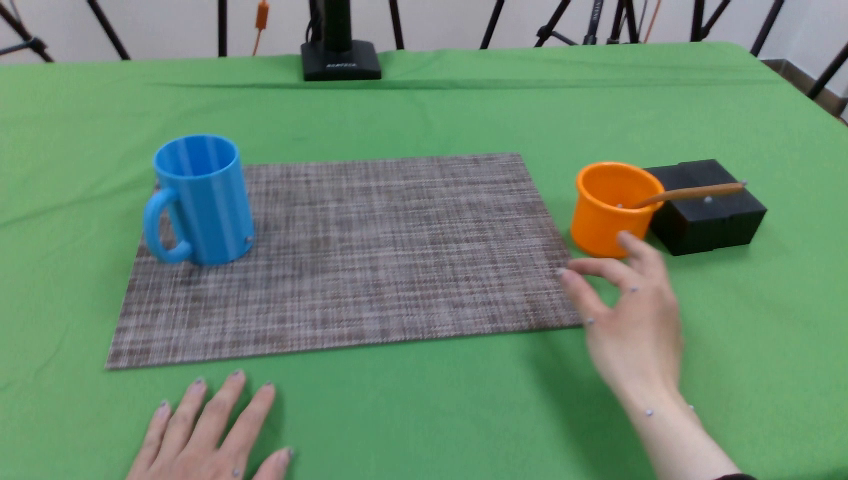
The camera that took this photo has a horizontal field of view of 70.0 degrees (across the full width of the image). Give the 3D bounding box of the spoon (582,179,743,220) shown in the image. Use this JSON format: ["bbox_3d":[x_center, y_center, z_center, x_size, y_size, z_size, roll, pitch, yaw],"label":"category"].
[{"bbox_3d":[0.233,-0.042,0.615,0.042,0.193,0.021,-21,91,-27],"label":"spoon"}]

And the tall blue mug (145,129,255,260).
[{"bbox_3d":[-0.215,-0.034,0.592,0.078,0.109,0.106,2,42,-3],"label":"tall blue mug"}]
